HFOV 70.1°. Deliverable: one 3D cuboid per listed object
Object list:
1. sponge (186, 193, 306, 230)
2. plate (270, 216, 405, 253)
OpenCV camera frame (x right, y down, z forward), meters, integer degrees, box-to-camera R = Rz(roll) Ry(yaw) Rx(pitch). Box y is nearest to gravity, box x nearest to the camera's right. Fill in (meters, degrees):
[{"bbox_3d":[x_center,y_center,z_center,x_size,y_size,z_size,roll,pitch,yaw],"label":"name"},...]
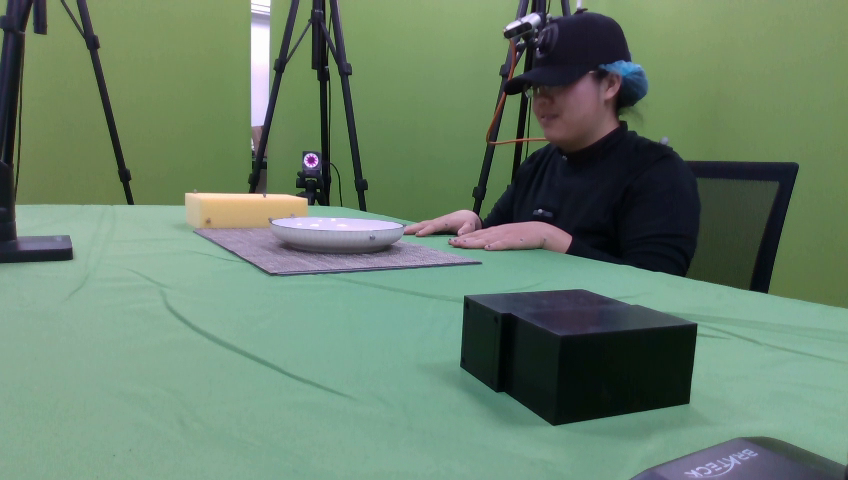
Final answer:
[{"bbox_3d":[-0.350,-0.059,1.194,0.208,0.061,0.117,-3,9,-34],"label":"sponge"},{"bbox_3d":[-0.134,-0.009,0.946,0.208,0.039,0.207,3,7,0],"label":"plate"}]
